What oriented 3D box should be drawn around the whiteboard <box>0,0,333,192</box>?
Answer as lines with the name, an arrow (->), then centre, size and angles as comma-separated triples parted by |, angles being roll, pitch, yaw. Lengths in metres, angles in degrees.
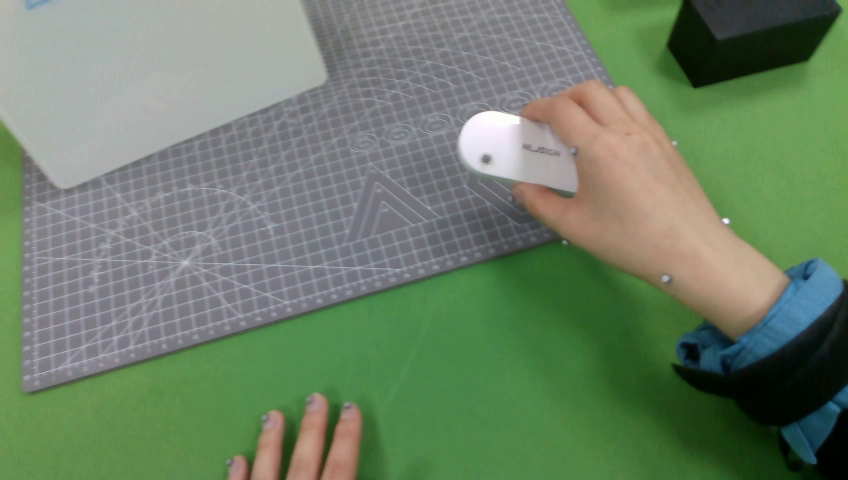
whiteboard -> -0.223, -0.227, 0.401 | 0.217, 0.308, 0.142 | -25, 45, -10

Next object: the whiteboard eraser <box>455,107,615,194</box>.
whiteboard eraser -> 0.070, -0.056, 0.383 | 0.101, 0.019, 0.041 | 12, 83, -3
